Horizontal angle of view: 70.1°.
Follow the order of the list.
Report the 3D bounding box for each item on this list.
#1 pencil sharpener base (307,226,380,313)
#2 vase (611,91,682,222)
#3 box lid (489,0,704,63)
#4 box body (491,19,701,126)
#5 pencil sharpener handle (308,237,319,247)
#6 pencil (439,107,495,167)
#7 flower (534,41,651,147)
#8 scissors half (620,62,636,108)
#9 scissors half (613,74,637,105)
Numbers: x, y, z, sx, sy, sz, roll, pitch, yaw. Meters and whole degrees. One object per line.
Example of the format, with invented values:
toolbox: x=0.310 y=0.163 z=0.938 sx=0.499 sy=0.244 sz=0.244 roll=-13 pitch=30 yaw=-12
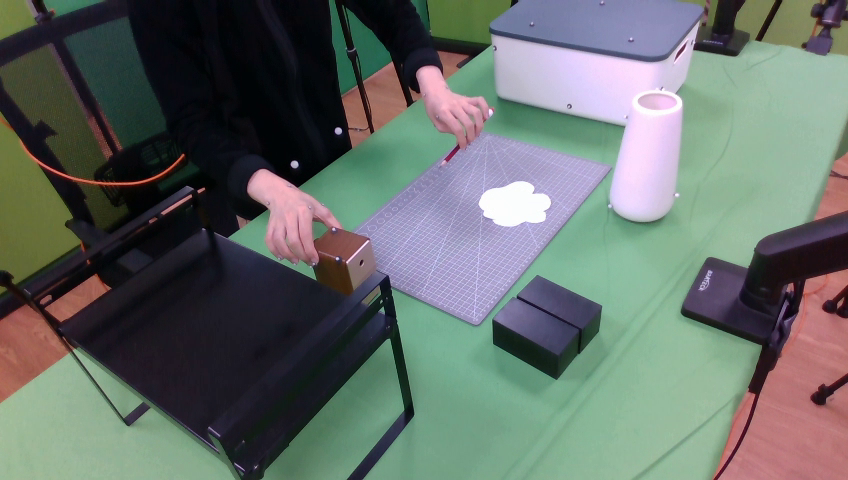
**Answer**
pencil sharpener base: x=-0.116 y=0.043 z=0.875 sx=0.076 sy=0.107 sz=0.061 roll=18 pitch=47 yaw=27
vase: x=0.348 y=-0.125 z=0.935 sx=0.098 sy=0.201 sz=0.097 roll=-3 pitch=40 yaw=3
box lid: x=0.345 y=-0.441 z=1.217 sx=0.369 sy=0.015 sz=0.264 roll=21 pitch=49 yaw=29
box body: x=0.352 y=-0.384 z=1.268 sx=0.361 sy=0.161 sz=0.255 roll=21 pitch=48 yaw=29
pencil sharpener handle: x=-0.158 y=0.017 z=0.892 sx=0.030 sy=0.068 sz=0.036 roll=18 pitch=62 yaw=28
pencil: x=0.074 y=-0.175 z=1.023 sx=0.012 sy=0.012 sz=0.194 roll=18 pitch=47 yaw=26
flower: x=0.364 y=-0.319 z=1.318 sx=0.038 sy=0.044 sz=0.359 roll=-4 pitch=48 yaw=-50
scissors half: x=0.434 y=-0.340 z=1.298 sx=0.013 sy=0.040 sz=0.174 roll=25 pitch=42 yaw=-12
scissors half: x=0.427 y=-0.330 z=1.306 sx=0.013 sy=0.040 sz=0.174 roll=31 pitch=31 yaw=-14
